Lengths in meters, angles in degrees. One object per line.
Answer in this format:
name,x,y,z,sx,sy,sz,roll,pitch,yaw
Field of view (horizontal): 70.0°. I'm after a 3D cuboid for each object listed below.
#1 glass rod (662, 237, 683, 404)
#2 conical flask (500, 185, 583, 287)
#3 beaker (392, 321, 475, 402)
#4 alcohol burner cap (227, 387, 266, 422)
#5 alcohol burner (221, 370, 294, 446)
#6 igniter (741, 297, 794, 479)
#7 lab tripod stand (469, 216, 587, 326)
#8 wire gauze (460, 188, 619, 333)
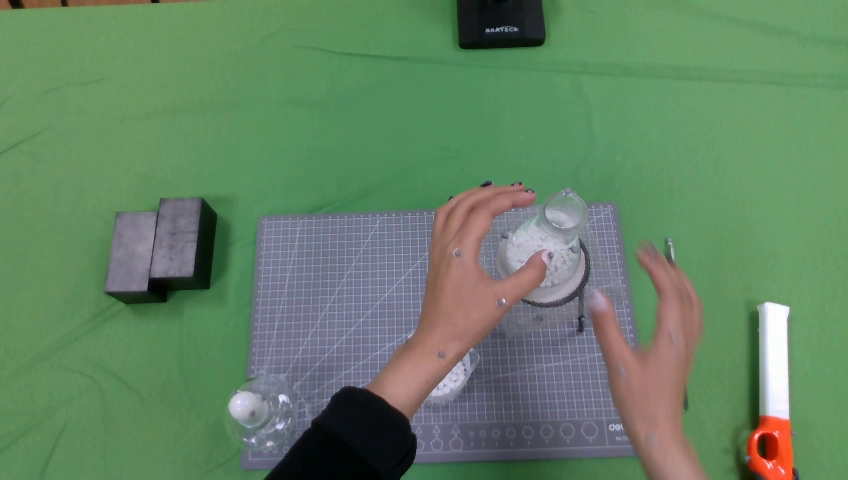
glass rod,0.289,0.090,0.706,0.008,0.008,0.198,2,70,2
conical flask,0.111,-0.007,0.542,0.075,0.122,0.075,0,72,1
beaker,0.010,0.133,0.645,0.084,0.101,0.073,-8,70,-2
alcohol burner cap,-0.176,0.159,0.593,0.034,0.048,0.033,1,68,-3
alcohol burner,-0.176,0.172,0.627,0.078,0.120,0.077,0,71,0
igniter,0.372,0.197,0.656,0.057,0.025,0.275,13,71,-5
lab tripod stand,0.115,0.043,0.657,0.148,0.132,0.147,0,72,2
wire gauze,0.113,0.019,0.596,0.125,0.011,0.120,-17,74,-7
